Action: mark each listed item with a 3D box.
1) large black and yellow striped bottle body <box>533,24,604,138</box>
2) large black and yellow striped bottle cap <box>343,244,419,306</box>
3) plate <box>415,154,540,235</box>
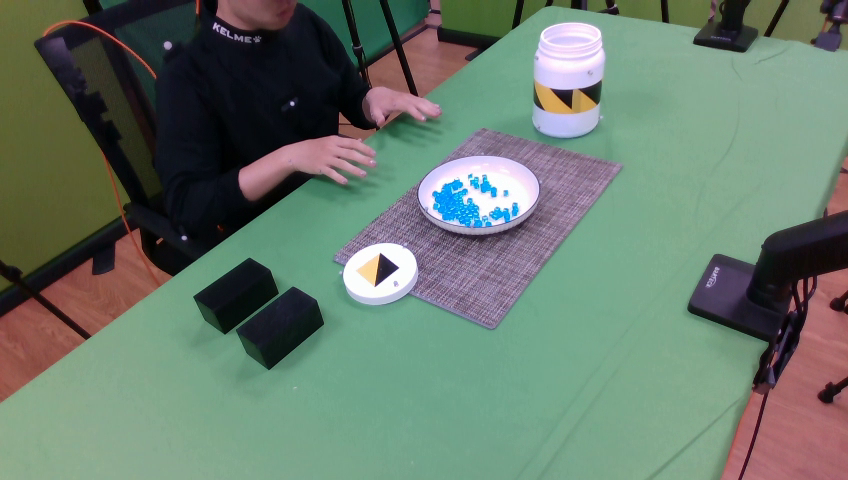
[{"bbox_3d":[0.275,-0.304,1.160,0.131,0.185,0.130,-4,41,4],"label":"large black and yellow striped bottle body"},{"bbox_3d":[-0.066,0.051,0.918,0.115,0.019,0.114,-6,43,6],"label":"large black and yellow striped bottle cap"},{"bbox_3d":[0.090,-0.074,1.025,0.207,0.039,0.206,-4,41,4],"label":"plate"}]
